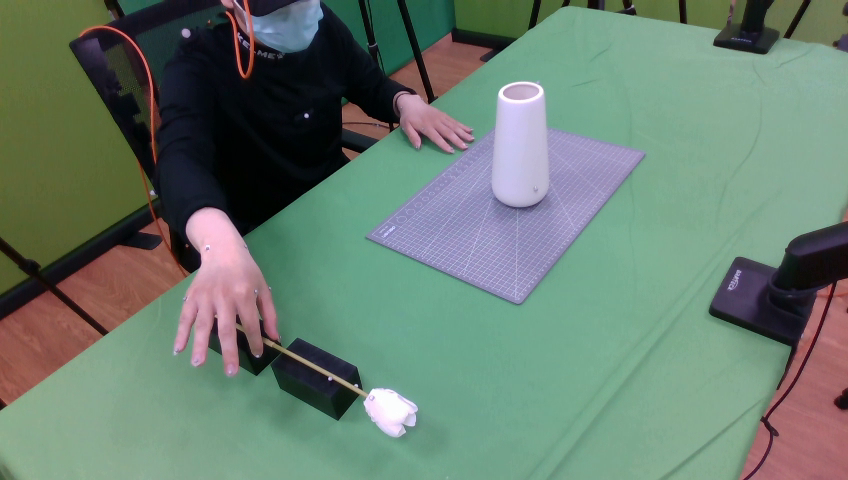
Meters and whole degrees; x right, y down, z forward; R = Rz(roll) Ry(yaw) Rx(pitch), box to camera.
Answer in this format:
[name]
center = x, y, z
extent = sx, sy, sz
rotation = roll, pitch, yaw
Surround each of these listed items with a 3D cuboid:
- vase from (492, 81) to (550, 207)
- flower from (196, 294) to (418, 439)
[vase]
center = 0.159, -0.151, 0.982
extent = 0.098, 0.201, 0.097
rotation = -3, 41, 3
[flower]
center = -0.162, 0.142, 0.752
extent = 0.359, 0.038, 0.044
rotation = 24, 67, 26
